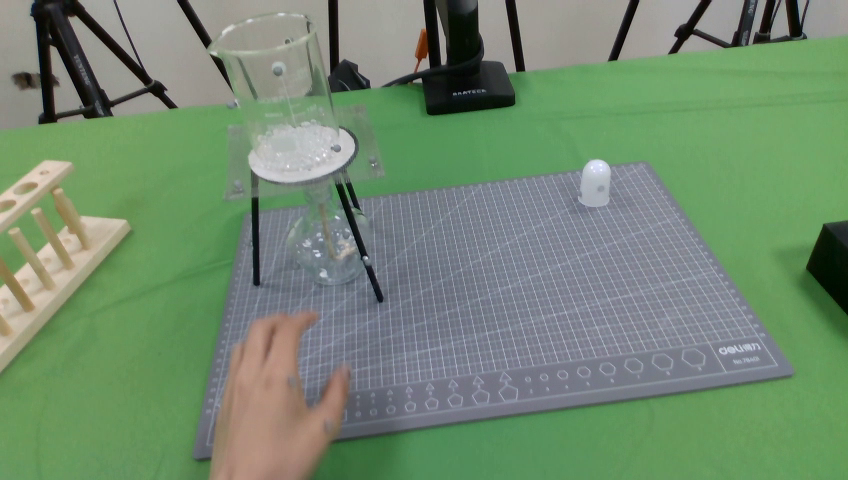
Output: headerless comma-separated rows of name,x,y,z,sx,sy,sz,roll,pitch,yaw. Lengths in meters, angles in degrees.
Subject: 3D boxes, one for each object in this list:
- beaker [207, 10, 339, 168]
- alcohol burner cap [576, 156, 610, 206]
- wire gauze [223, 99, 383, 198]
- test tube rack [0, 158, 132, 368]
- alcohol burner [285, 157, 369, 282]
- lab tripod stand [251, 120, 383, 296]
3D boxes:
beaker,-0.110,-0.112,0.465,0.084,0.101,0.073,-12,40,-5
alcohol burner cap,0.174,-0.063,0.620,0.034,0.048,0.033,-4,40,4
wire gauze,-0.102,-0.076,0.498,0.125,0.011,0.120,-13,39,-4
test tube rack,-0.382,0.027,0.554,0.066,0.086,0.240,6,42,13
alcohol burner,-0.091,-0.021,0.548,0.078,0.120,0.077,-4,39,4
lab tripod stand,-0.096,-0.027,0.540,0.148,0.133,0.147,-4,42,4
